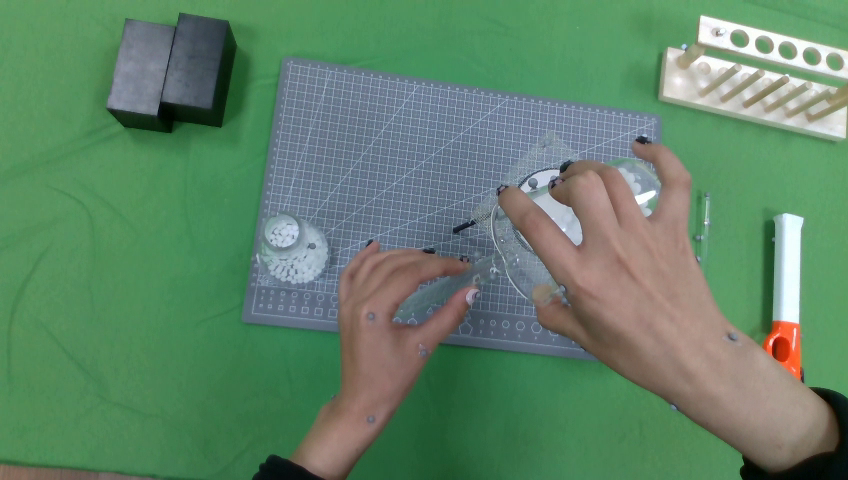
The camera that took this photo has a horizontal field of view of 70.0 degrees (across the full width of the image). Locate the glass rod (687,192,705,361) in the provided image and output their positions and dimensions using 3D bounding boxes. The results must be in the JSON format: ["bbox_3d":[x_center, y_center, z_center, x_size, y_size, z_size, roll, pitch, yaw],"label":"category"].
[{"bbox_3d":[0.317,0.041,0.705,0.008,0.008,0.199,9,82,-6],"label":"glass rod"}]

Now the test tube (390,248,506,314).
[{"bbox_3d":[0.014,0.036,0.488,0.017,0.150,0.017,14,64,-30],"label":"test tube"}]

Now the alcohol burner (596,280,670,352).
[{"bbox_3d":[0.226,0.077,0.630,0.078,0.119,0.077,1,79,-5],"label":"alcohol burner"}]

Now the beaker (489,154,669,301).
[{"bbox_3d":[0.104,-0.011,0.408,0.100,0.084,0.074,-21,84,-17],"label":"beaker"}]

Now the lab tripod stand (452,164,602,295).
[{"bbox_3d":[0.110,-0.015,0.619,0.148,0.131,0.148,1,81,-6],"label":"lab tripod stand"}]

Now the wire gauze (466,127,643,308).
[{"bbox_3d":[0.120,-0.024,0.554,0.125,0.011,0.121,44,79,1],"label":"wire gauze"}]

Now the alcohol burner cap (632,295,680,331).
[{"bbox_3d":[0.231,0.069,0.595,0.034,0.048,0.033,3,74,-11],"label":"alcohol burner cap"}]

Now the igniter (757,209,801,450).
[{"bbox_3d":[0.410,0.100,0.697,0.057,0.025,0.275,11,79,-16],"label":"igniter"}]

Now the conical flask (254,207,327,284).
[{"bbox_3d":[-0.134,0.000,0.589,0.075,0.122,0.075,1,80,-7],"label":"conical flask"}]

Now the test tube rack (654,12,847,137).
[{"bbox_3d":[0.410,-0.192,0.717,0.243,0.085,0.066,11,79,-5],"label":"test tube rack"}]
